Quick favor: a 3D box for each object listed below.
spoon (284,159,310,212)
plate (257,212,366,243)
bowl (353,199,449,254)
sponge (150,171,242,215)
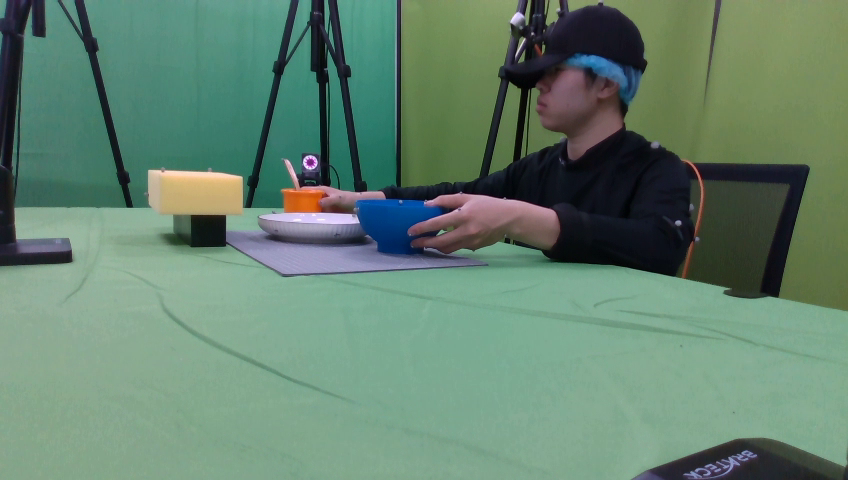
[{"bbox_3d":[-0.279,-0.111,1.324,0.042,0.193,0.021,4,-40,-36],"label":"spoon"},{"bbox_3d":[-0.189,-0.023,1.072,0.209,0.038,0.209,3,7,0],"label":"plate"},{"bbox_3d":[-0.038,-0.021,0.952,0.151,0.077,0.151,3,8,0],"label":"bowl"},{"bbox_3d":[-0.379,-0.079,0.994,0.119,0.061,0.206,-1,8,-29],"label":"sponge"}]
